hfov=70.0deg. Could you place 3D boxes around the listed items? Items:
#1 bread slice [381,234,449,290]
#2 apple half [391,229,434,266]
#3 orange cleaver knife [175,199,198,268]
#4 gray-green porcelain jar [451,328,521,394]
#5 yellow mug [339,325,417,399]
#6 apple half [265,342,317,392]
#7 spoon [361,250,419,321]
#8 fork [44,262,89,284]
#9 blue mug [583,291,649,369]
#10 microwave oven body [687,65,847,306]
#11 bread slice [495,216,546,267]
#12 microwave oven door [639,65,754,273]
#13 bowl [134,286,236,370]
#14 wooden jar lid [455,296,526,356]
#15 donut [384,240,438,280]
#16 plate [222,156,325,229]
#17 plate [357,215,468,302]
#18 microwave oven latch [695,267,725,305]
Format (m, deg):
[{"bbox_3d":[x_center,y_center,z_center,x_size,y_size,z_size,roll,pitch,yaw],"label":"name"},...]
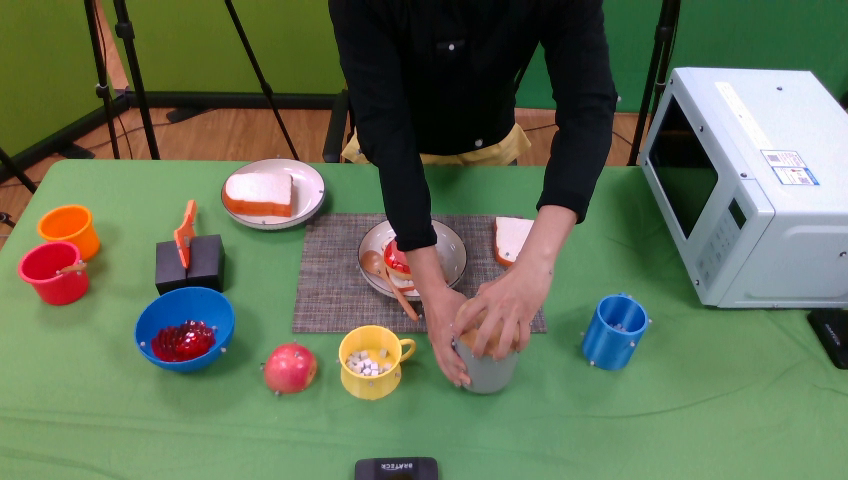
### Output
[{"bbox_3d":[-0.026,0.039,1.139,0.107,0.018,0.133,-12,47,-16],"label":"bread slice"},{"bbox_3d":[-0.021,0.005,1.084,0.081,0.033,0.081,6,49,-7],"label":"apple half"},{"bbox_3d":[-0.438,-0.017,1.138,0.012,0.077,0.210,-13,27,-7],"label":"orange cleaver knife"},{"bbox_3d":[0.097,0.175,0.963,0.106,0.127,0.105,1,46,-1],"label":"gray-green porcelain jar"},{"bbox_3d":[-0.071,0.190,0.978,0.131,0.064,0.099,-17,50,-20],"label":"yellow mug"},{"bbox_3d":[-0.214,0.198,0.970,0.074,0.053,0.080,19,48,11],"label":"apple half"},{"bbox_3d":[-0.060,0.079,1.078,0.042,0.022,0.192,-19,42,-24],"label":"spoon"},{"bbox_3d":[-0.598,0.054,1.014,0.207,0.019,0.028,-15,29,45],"label":"fork"},{"bbox_3d":[0.324,0.142,1.024,0.082,0.106,0.116,15,47,11],"label":"blue mug"},{"bbox_3d":[0.669,-0.111,1.176,0.326,0.261,0.439,0,46,-3],"label":"microwave oven body"},{"bbox_3d":[0.194,0.002,1.204,0.105,0.019,0.131,5,45,2],"label":"bread slice"},{"bbox_3d":[0.522,-0.147,1.192,0.039,0.245,0.353,0,47,-3],"label":"microwave oven door"},{"bbox_3d":[-0.377,0.156,0.981,0.151,0.077,0.150,2,46,-2],"label":"bowl"},{"bbox_3d":[0.100,0.132,0.919,0.108,0.021,0.107,3,48,-3],"label":"wooden jar lid"},{"bbox_3d":[-0.025,0.029,1.110,0.099,0.048,0.098,2,47,-2],"label":"donut"},{"bbox_3d":[-0.308,-0.095,1.251,0.209,0.038,0.208,2,47,-2],"label":"plate"},{"bbox_3d":[-0.021,0.037,1.141,0.208,0.039,0.206,2,46,-2],"label":"plate"},{"bbox_3d":[0.524,0.082,1.115,0.030,0.029,0.078,5,46,2],"label":"microwave oven latch"}]
